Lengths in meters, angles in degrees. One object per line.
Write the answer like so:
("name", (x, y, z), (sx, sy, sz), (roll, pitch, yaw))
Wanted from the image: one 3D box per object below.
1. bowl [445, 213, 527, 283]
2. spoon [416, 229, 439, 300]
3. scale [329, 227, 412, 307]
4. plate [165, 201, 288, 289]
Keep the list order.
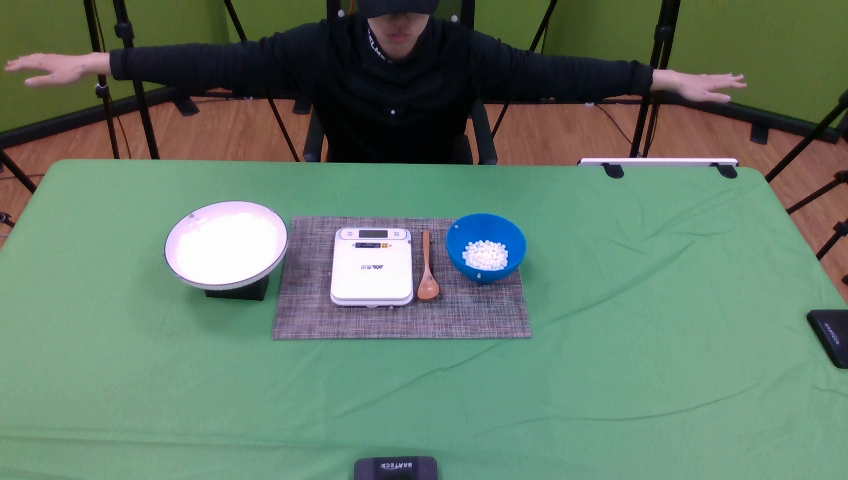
("bowl", (0.112, 0.027, 1.136), (0.151, 0.077, 0.150), (2, 46, -2))
("spoon", (0.005, 0.043, 1.152), (0.041, 0.022, 0.192), (-9, 46, 8))
("scale", (-0.099, 0.042, 1.139), (0.149, 0.032, 0.199), (1, 46, -4))
("plate", (-0.347, 0.011, 1.082), (0.209, 0.038, 0.208), (2, 46, -2))
